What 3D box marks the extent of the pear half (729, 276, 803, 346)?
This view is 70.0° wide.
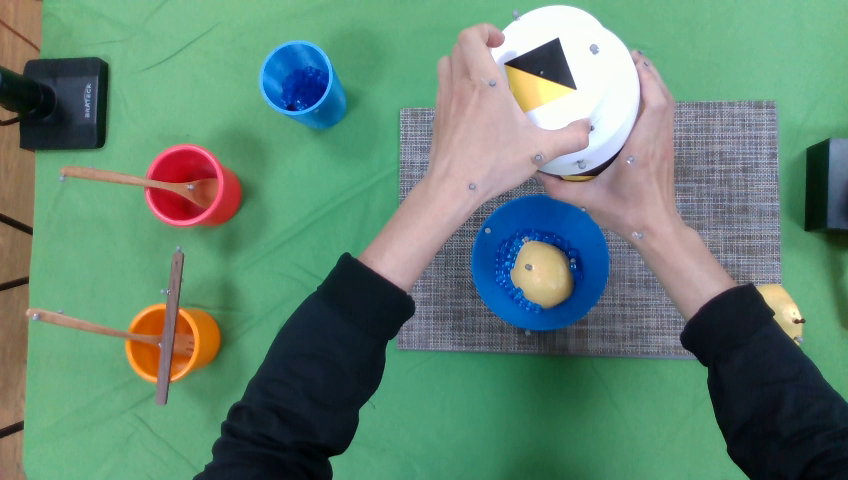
[{"bbox_3d":[0.367,0.079,0.652,0.056,0.110,0.076,-19,80,5],"label":"pear half"}]

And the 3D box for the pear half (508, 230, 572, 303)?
[{"bbox_3d":[0.130,0.027,0.688,0.070,0.031,0.087,-25,80,1],"label":"pear half"}]

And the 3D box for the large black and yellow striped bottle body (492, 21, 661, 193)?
[{"bbox_3d":[0.140,-0.126,0.569,0.130,0.185,0.130,-6,78,30],"label":"large black and yellow striped bottle body"}]

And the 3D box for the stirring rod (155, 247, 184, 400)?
[{"bbox_3d":[-0.293,0.095,0.697,0.014,0.006,0.176,5,87,5],"label":"stirring rod"}]

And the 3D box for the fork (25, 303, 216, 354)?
[{"bbox_3d":[-0.345,0.103,0.704,0.209,0.018,0.028,21,98,-37],"label":"fork"}]

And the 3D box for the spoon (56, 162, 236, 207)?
[{"bbox_3d":[-0.321,-0.071,0.716,0.195,0.021,0.041,9,88,-37],"label":"spoon"}]

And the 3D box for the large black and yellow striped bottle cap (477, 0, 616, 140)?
[{"bbox_3d":[0.097,-0.140,0.497,0.114,0.019,0.114,-6,79,31],"label":"large black and yellow striped bottle cap"}]

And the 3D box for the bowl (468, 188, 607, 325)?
[{"bbox_3d":[0.127,0.021,0.695,0.151,0.077,0.151,0,86,6],"label":"bowl"}]

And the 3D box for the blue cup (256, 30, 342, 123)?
[{"bbox_3d":[-0.140,-0.183,0.726,0.092,0.100,0.092,-1,86,8],"label":"blue cup"}]
